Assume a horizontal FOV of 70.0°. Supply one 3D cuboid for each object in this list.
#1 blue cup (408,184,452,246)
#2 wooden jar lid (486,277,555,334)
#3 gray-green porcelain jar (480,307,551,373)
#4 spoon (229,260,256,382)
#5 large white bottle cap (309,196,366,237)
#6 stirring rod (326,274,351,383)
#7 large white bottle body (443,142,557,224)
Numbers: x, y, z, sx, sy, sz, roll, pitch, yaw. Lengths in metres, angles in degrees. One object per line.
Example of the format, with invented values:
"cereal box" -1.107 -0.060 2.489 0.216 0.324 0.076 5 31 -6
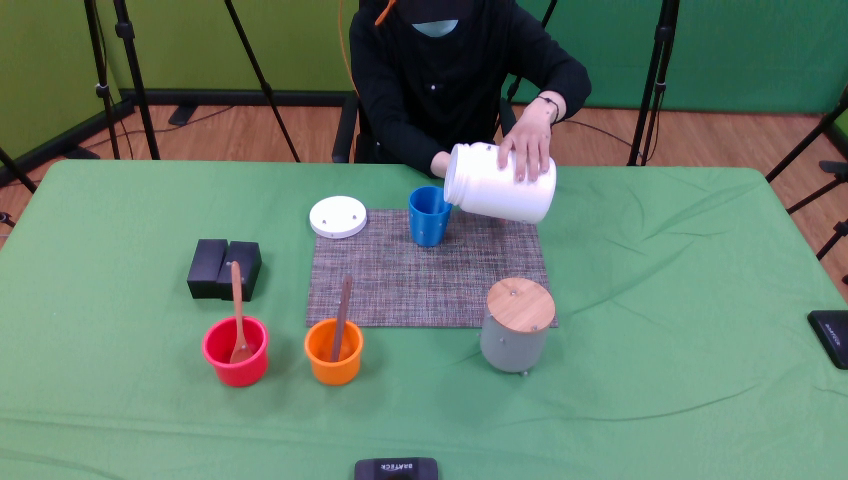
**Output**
"blue cup" 0.008 -0.043 1.177 0.093 0.101 0.092 3 47 -3
"wooden jar lid" 0.150 0.105 0.948 0.108 0.021 0.107 3 47 -3
"gray-green porcelain jar" 0.148 0.148 0.992 0.106 0.127 0.105 2 46 -2
"spoon" -0.294 0.129 0.966 0.042 0.021 0.193 -4 91 -8
"large white bottle cap" -0.176 -0.048 1.229 0.115 0.018 0.114 0 43 0
"stirring rod" -0.137 0.142 0.972 0.014 0.006 0.176 9 89 0
"large white bottle body" 0.135 -0.108 1.114 0.185 0.131 0.130 10 45 -8
